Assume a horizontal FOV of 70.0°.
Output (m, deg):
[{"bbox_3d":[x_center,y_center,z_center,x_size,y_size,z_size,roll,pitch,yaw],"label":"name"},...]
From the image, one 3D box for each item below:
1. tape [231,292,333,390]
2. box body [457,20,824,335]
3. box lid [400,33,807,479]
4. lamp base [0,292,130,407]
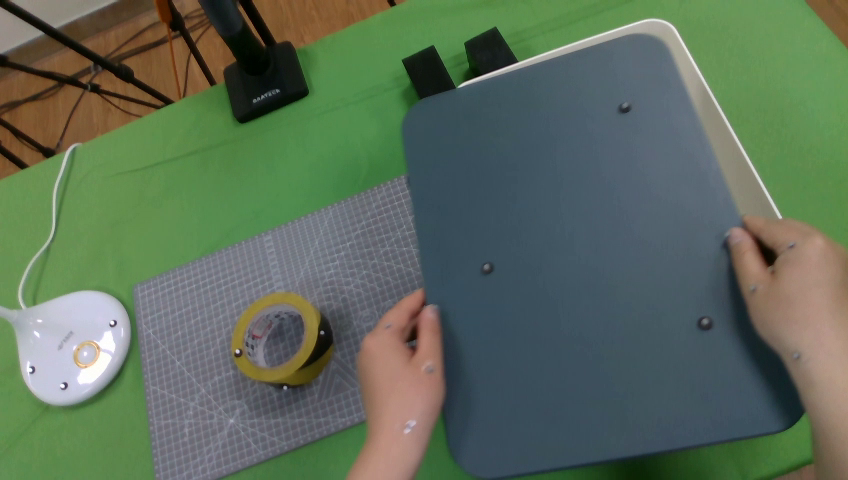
[{"bbox_3d":[-0.176,0.124,0.747,0.116,0.053,0.116,-5,65,10],"label":"tape"},{"bbox_3d":[0.199,-0.023,0.663,0.254,0.162,0.360,-18,64,5],"label":"box body"},{"bbox_3d":[0.121,-0.007,0.514,0.263,0.015,0.368,-14,63,11],"label":"box lid"},{"bbox_3d":[-0.503,0.113,0.760,0.178,0.182,0.160,14,70,22],"label":"lamp base"}]
